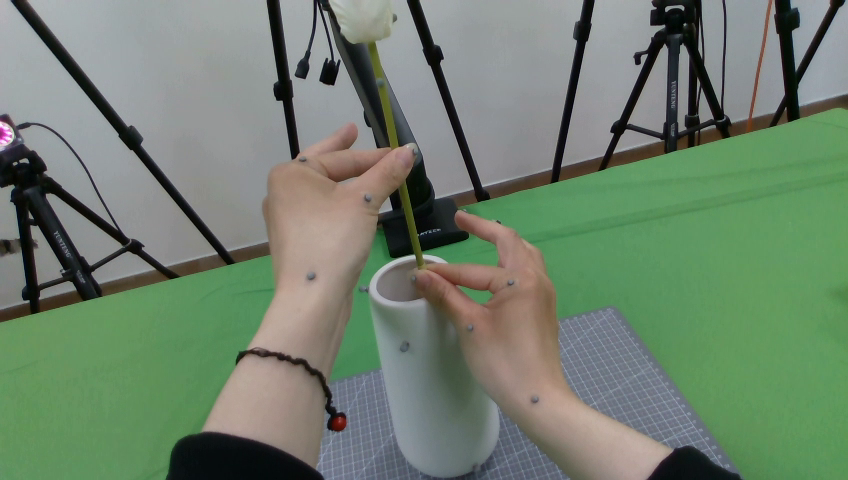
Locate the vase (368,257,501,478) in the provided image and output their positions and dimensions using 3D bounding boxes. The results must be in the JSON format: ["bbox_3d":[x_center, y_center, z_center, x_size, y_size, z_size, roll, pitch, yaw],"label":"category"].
[{"bbox_3d":[0.009,0.113,0.527,0.098,0.202,0.097,-10,31,6],"label":"vase"}]

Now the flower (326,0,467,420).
[{"bbox_3d":[-0.007,-0.015,0.430,0.038,0.364,0.043,-21,24,-15],"label":"flower"}]
